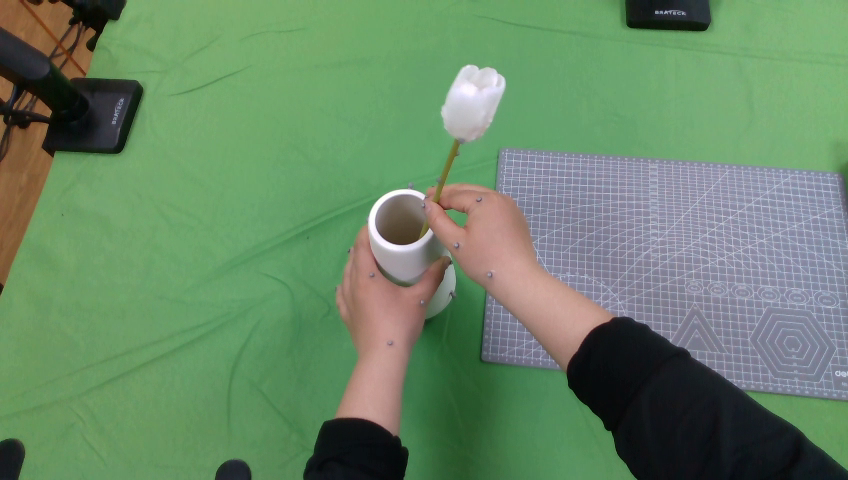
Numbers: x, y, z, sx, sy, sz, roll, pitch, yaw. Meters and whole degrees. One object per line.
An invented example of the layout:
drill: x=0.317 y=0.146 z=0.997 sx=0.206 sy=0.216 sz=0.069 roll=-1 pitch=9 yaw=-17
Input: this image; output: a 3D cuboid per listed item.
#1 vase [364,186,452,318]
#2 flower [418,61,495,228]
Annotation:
vase: x=-0.017 y=0.018 z=0.671 sx=0.098 sy=0.201 sz=0.097 roll=-1 pitch=66 yaw=2
flower: x=-0.003 y=-0.021 z=0.581 sx=0.044 sy=0.364 sz=0.038 roll=-24 pitch=65 yaw=-26
